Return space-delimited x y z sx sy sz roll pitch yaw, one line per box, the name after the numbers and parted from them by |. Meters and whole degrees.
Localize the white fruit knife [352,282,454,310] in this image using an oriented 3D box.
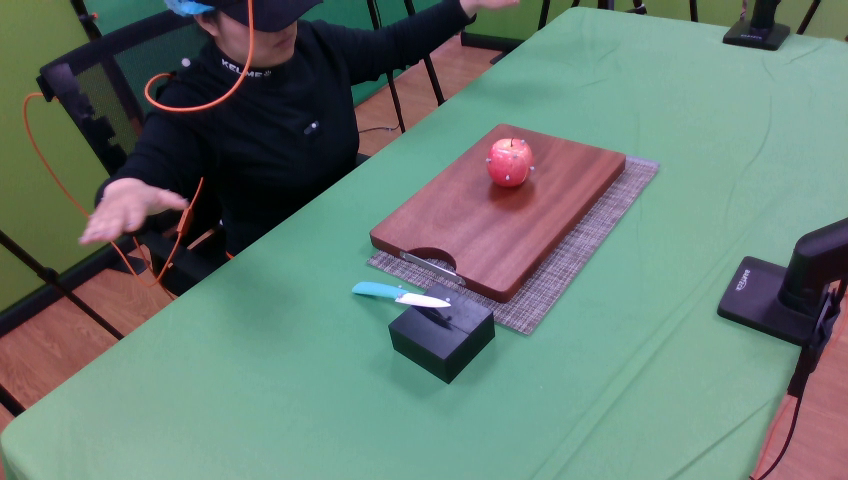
-0.032 0.079 0.856 0.205 0.016 0.027 6 38 47 | white fruit knife

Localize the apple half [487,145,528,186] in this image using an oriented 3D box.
0.134 -0.118 1.014 0.080 0.081 0.033 18 44 29 | apple half

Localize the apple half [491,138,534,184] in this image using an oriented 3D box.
0.156 -0.139 1.038 0.080 0.075 0.053 16 42 32 | apple half
